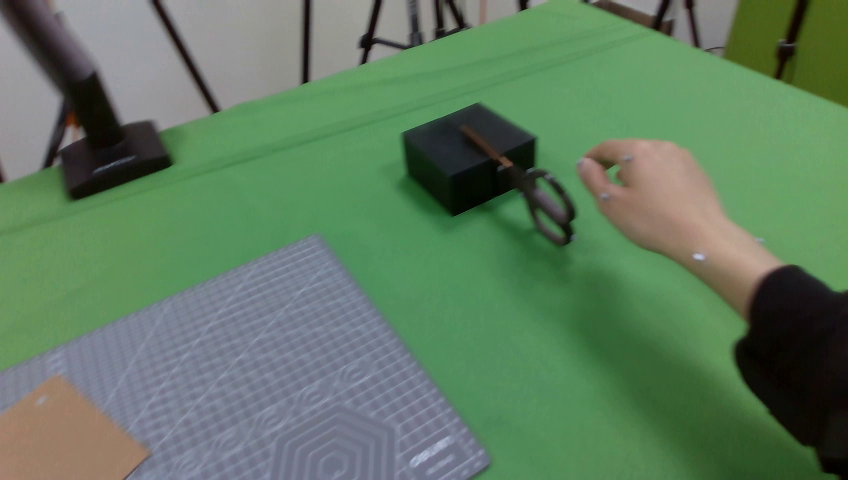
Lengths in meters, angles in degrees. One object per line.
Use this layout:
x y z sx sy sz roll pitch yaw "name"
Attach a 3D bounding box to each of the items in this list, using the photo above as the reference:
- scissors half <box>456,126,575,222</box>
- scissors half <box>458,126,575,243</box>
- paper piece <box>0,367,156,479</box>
0.079 -0.070 0.568 0.013 0.040 0.173 -33 45 -13 "scissors half"
0.083 -0.058 0.583 0.013 0.040 0.173 -30 61 -17 "scissors half"
-0.285 0.163 0.425 0.135 0.009 0.138 25 49 27 "paper piece"
